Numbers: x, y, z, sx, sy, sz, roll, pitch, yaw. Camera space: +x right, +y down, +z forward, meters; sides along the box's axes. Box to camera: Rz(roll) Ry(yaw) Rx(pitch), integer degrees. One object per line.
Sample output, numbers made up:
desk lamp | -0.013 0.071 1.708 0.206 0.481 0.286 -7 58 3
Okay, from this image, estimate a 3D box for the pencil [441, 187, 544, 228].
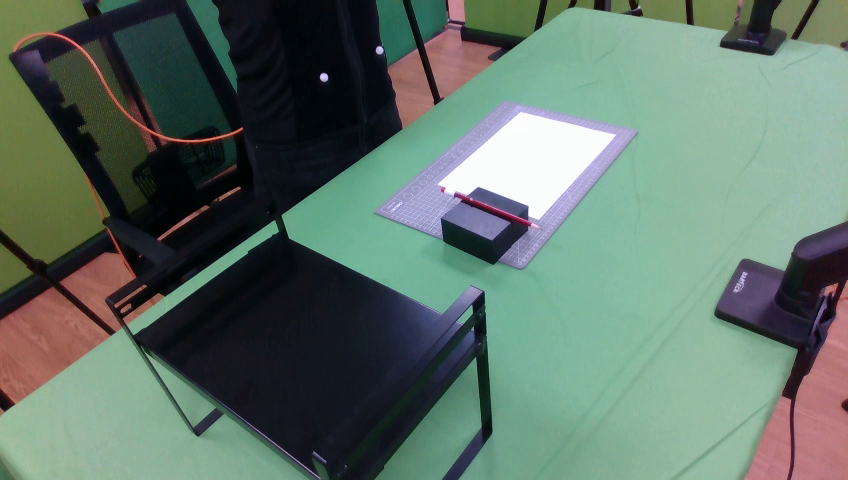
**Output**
pencil | 0.104 -0.051 0.948 0.192 0.012 0.012 24 50 32
